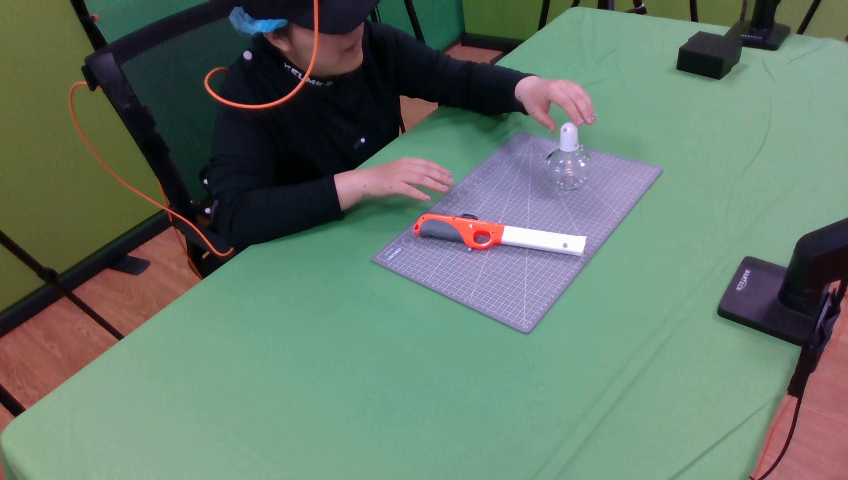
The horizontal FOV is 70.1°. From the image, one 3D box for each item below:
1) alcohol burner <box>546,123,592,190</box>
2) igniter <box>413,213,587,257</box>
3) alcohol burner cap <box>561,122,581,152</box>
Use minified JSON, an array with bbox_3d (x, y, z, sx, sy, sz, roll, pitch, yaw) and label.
[{"bbox_3d":[0.248,-0.147,1.034,0.078,0.120,0.077,-7,41,6],"label":"alcohol burner"},{"bbox_3d":[0.116,-0.009,0.959,0.275,0.025,0.057,8,65,17],"label":"igniter"},{"bbox_3d":[0.245,-0.174,1.011,0.034,0.048,0.033,-8,41,7],"label":"alcohol burner cap"}]
